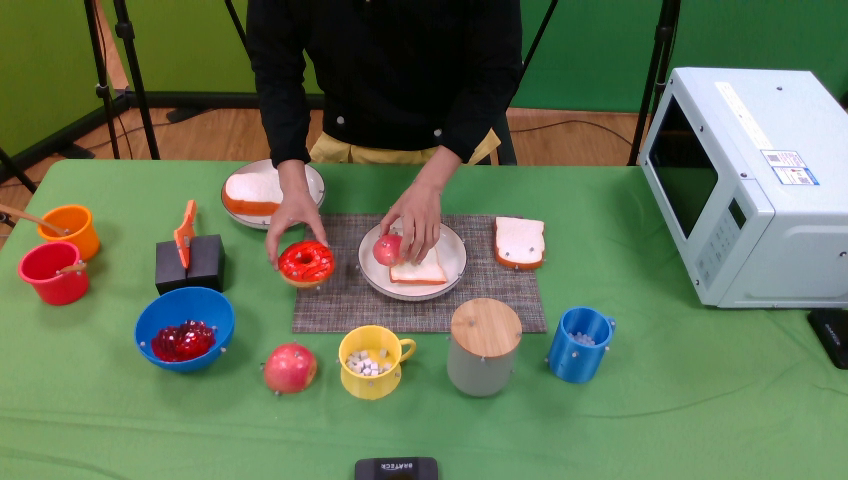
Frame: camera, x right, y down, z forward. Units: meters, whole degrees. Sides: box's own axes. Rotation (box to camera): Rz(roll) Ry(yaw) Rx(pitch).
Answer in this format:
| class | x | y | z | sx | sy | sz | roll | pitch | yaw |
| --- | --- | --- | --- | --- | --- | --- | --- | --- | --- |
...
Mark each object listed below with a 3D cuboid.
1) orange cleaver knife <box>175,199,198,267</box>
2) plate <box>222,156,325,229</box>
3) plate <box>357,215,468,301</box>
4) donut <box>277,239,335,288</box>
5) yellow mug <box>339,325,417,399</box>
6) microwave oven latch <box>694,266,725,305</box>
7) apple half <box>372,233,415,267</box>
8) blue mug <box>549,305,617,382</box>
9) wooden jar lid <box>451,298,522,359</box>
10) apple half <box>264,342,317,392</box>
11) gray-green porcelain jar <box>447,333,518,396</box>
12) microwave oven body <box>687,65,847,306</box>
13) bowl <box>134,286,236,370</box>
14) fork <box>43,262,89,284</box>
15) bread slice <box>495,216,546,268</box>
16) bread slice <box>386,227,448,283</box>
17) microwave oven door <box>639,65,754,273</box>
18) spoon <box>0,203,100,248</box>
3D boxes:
| class | x | y | z | sx | sy | sz | roll | pitch | yaw |
| --- | --- | --- | --- | --- | --- | --- | --- | --- | --- |
| orange cleaver knife | -0.438 | -0.017 | 1.138 | 0.012 | 0.077 | 0.210 | -14 | 27 | -7 |
| plate | -0.308 | -0.094 | 1.251 | 0.209 | 0.038 | 0.208 | 2 | 47 | -2 |
| plate | -0.021 | 0.037 | 1.141 | 0.208 | 0.039 | 0.206 | 2 | 46 | -2 |
| donut | -0.204 | 0.040 | 1.056 | 0.099 | 0.048 | 0.098 | 1 | 46 | 0 |
| yellow mug | -0.072 | 0.190 | 0.978 | 0.131 | 0.064 | 0.099 | -17 | 50 | -20 |
| microwave oven latch | 0.523 | 0.082 | 1.115 | 0.030 | 0.029 | 0.078 | 3 | 46 | 0 |
| apple half | -0.059 | 0.008 | 1.101 | 0.081 | 0.033 | 0.081 | 0 | 44 | 0 |
| blue mug | 0.269 | 0.166 | 0.998 | 0.116 | 0.106 | 0.082 | -19 | 51 | -21 |
| wooden jar lid | 0.093 | 0.135 | 0.914 | 0.108 | 0.021 | 0.107 | 2 | 48 | -3 |
| apple half | -0.214 | 0.198 | 0.970 | 0.074 | 0.053 | 0.080 | 19 | 48 | 10 |
| gray-green porcelain jar | 0.091 | 0.178 | 0.960 | 0.106 | 0.127 | 0.105 | 2 | 47 | -2 |
| microwave oven body | 0.669 | -0.111 | 1.176 | 0.326 | 0.261 | 0.439 | 0 | 46 | -3 |
| bowl | -0.377 | 0.156 | 0.981 | 0.151 | 0.077 | 0.150 | 2 | 46 | -2 |
| fork | -0.599 | 0.053 | 1.014 | 0.207 | 0.019 | 0.028 | -14 | 29 | 45 |
| bread slice | 0.194 | 0.002 | 1.205 | 0.105 | 0.019 | 0.131 | 5 | 45 | 2 |
| bread slice | -0.024 | 0.027 | 1.134 | 0.107 | 0.018 | 0.133 | 2 | 45 | -24 |
| microwave oven door | 0.522 | -0.147 | 1.192 | 0.039 | 0.245 | 0.353 | 0 | 47 | -3 |
| spoon | -0.683 | -0.031 | 1.088 | 0.195 | 0.021 | 0.041 | 33 | 33 | -38 |
